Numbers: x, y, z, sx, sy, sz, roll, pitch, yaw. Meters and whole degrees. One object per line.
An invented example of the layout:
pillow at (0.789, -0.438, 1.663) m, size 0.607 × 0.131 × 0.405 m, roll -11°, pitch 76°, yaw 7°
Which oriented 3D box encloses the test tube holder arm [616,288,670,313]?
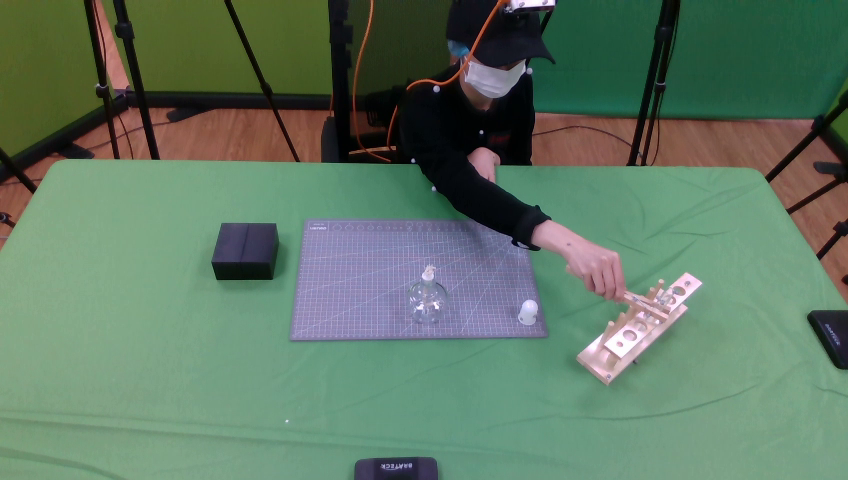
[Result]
test tube holder arm at (0.356, 0.100, 0.991) m, size 0.087 × 0.015 × 0.010 m, roll 19°, pitch 47°, yaw 12°

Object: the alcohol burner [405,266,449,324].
alcohol burner at (0.005, 0.089, 1.043) m, size 0.078 × 0.120 × 0.077 m, roll 1°, pitch 44°, yaw -1°

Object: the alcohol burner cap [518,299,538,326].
alcohol burner cap at (0.186, 0.126, 1.072) m, size 0.034 × 0.048 × 0.033 m, roll 2°, pitch 45°, yaw -1°

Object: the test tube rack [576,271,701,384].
test tube rack at (0.373, 0.138, 1.048) m, size 0.242 × 0.085 × 0.066 m, roll -31°, pitch 55°, yaw -29°

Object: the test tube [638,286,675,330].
test tube at (0.376, 0.122, 0.994) m, size 0.017 × 0.151 × 0.017 m, roll 2°, pitch 52°, yaw -3°

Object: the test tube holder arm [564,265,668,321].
test tube holder arm at (0.314, 0.086, 1.000) m, size 0.178 × 0.015 × 0.013 m, roll 26°, pitch 49°, yaw 18°
